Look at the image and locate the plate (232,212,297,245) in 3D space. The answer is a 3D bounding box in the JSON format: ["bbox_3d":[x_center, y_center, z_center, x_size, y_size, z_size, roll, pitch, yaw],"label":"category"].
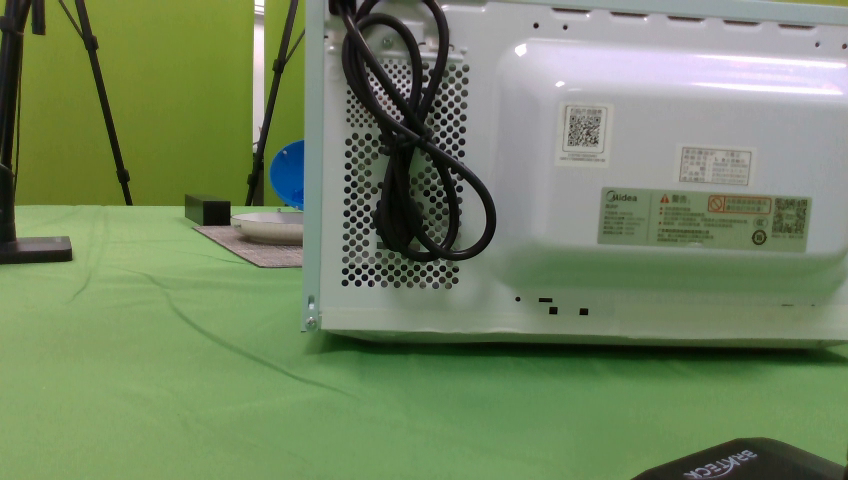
[{"bbox_3d":[-0.214,-0.020,1.018,0.208,0.039,0.207,2,7,0],"label":"plate"}]

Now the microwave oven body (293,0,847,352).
[{"bbox_3d":[0.122,-0.055,0.550,0.442,0.260,0.325,3,7,-5],"label":"microwave oven body"}]

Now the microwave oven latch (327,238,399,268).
[{"bbox_3d":[-0.069,0.015,0.694,0.079,0.029,0.030,3,7,-3],"label":"microwave oven latch"}]

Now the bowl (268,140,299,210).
[{"bbox_3d":[-0.206,-0.104,1.114,0.151,0.151,0.077,2,-30,-5],"label":"bowl"}]

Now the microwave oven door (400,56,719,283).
[{"bbox_3d":[0.155,-0.077,0.698,0.356,0.243,0.039,2,8,-5],"label":"microwave oven door"}]
